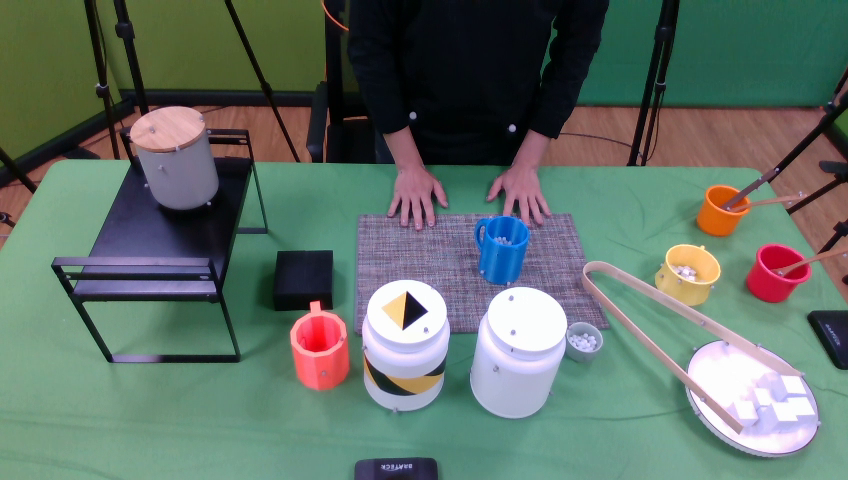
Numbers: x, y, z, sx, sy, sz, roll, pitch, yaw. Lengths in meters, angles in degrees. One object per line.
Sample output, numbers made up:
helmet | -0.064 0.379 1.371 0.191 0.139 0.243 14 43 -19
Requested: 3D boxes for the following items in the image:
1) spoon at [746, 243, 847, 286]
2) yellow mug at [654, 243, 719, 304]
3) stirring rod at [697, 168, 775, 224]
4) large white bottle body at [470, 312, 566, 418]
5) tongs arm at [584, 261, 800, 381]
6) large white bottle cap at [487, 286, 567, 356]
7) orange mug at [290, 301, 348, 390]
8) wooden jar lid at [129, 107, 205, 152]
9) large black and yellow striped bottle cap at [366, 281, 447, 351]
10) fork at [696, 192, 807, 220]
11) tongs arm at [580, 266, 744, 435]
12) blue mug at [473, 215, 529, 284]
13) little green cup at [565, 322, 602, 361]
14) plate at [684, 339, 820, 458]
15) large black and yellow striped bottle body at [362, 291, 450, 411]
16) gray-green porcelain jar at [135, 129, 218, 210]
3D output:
spoon | 0.703 0.042 1.127 0.194 0.022 0.041 -29 33 30
yellow mug | 0.504 0.054 1.154 0.099 0.064 0.130 28 50 22
stirring rod | 0.644 -0.090 1.252 0.176 0.006 0.014 -40 53 16
large white bottle body | 0.143 0.173 0.930 0.131 0.185 0.130 2 46 -2
tongs arm | 0.452 0.137 1.064 0.051 0.027 0.382 -34 50 -27
large white bottle cap | 0.147 0.114 0.869 0.115 0.018 0.114 3 46 -3
orange mug | -0.170 0.162 0.976 0.083 0.101 0.125 -7 52 -11
wooden jar lid | -0.385 -0.163 0.915 0.108 0.021 0.107 2 47 -2
large black and yellow striped bottle cap | -0.025 0.106 0.866 0.115 0.019 0.114 1 46 -1
fork | 0.655 -0.069 1.224 0.207 0.019 0.028 -17 33 45
tongs arm | 0.384 0.173 1.028 0.028 0.028 0.385 -25 46 -15
blue mug | 0.135 0.009 1.136 0.082 0.106 0.116 -32 56 -29
little green cup | 0.270 0.176 1.039 0.061 0.039 0.061 2 46 -2
plate | 0.523 0.256 0.982 0.208 0.039 0.206 2 46 -2
large black and yellow striped bottle body | -0.029 0.163 0.928 0.131 0.185 0.130 2 47 -2
gray-green porcelain jar | -0.388 -0.120 0.960 0.106 0.127 0.105 2 46 -2
